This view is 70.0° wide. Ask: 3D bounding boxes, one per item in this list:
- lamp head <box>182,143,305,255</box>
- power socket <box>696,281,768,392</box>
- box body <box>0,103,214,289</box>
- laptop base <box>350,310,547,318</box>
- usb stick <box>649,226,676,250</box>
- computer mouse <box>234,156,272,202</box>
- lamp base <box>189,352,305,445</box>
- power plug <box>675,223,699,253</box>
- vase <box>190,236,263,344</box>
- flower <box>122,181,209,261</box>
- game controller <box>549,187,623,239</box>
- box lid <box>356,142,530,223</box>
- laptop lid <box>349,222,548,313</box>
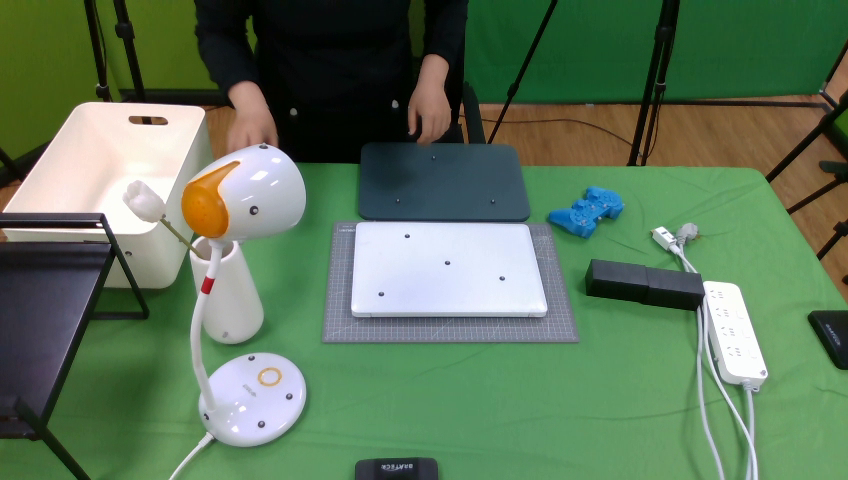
[{"bbox_3d":[-0.216,-0.044,0.697,0.112,0.113,0.123,23,31,17],"label":"lamp head"},{"bbox_3d":[0.543,0.161,1.077,0.072,0.033,0.225,5,46,2],"label":"power socket"},{"bbox_3d":[-0.563,-0.087,1.139,0.254,0.161,0.361,2,46,-3],"label":"box body"},{"bbox_3d":[0.041,0.056,1.149,0.355,0.023,0.234,0,42,-4],"label":"laptop base"},{"bbox_3d":[0.485,-0.008,1.237,0.021,0.027,0.059,-22,44,-13],"label":"usb stick"},{"bbox_3d":[-0.307,-0.114,1.093,0.063,0.041,0.116,-6,44,-6],"label":"computer mouse"},{"bbox_3d":[-0.268,0.196,0.876,0.160,0.181,0.179,25,52,20],"label":"lamp base"},{"bbox_3d":[0.537,0.000,1.244,0.053,0.035,0.072,20,83,-18],"label":"power plug"},{"bbox_3d":[-0.317,0.081,0.971,0.098,0.201,0.097,3,47,-3],"label":"vase"},{"bbox_3d":[-0.329,0.029,0.905,0.038,0.364,0.044,-21,58,-1],"label":"flower"},{"bbox_3d":[0.346,-0.065,1.272,0.155,0.052,0.096,-31,58,-28],"label":"game controller"},{"bbox_3d":[0.040,-0.132,1.339,0.372,0.015,0.261,0,46,-4],"label":"box lid"},{"bbox_3d":[0.042,0.046,1.142,0.357,0.013,0.240,2,44,-3],"label":"laptop lid"}]
